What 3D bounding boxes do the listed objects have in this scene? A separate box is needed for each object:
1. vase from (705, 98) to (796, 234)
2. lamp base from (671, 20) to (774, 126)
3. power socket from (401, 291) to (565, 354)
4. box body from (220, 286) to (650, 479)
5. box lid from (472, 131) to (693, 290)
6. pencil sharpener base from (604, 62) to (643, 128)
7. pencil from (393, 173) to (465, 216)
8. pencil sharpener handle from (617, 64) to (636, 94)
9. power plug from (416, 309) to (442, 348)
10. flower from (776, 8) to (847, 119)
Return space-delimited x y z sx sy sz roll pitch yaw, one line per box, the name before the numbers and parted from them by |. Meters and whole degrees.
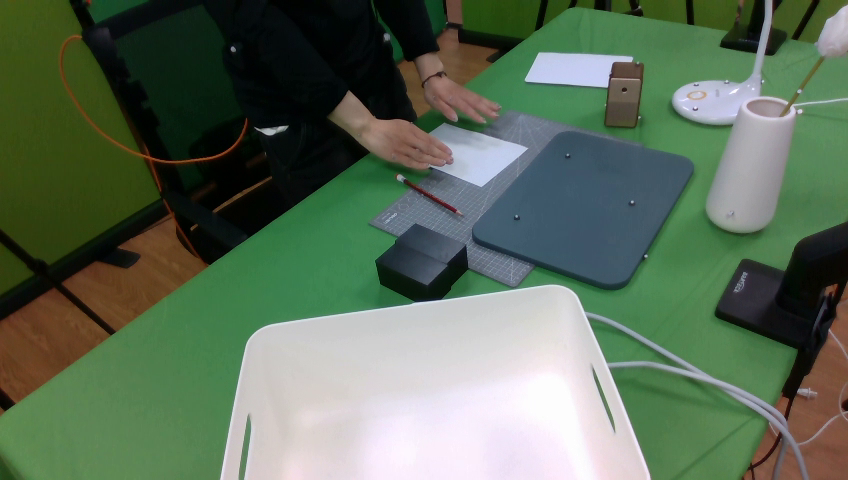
vase | 0.480 -0.104 0.889 0.098 0.201 0.097 -4 42 4
lamp base | 0.581 -0.332 1.154 0.179 0.181 0.160 2 41 7
power socket | 0.079 0.111 0.823 0.227 0.033 0.072 -5 41 1
box body | 0.006 0.210 0.618 0.364 0.161 0.252 -8 40 -1
box lid | 0.273 -0.068 1.020 0.261 0.015 0.372 20 47 28
pencil sharpener base | 0.390 -0.284 1.182 0.061 0.107 0.076 7 42 17
pencil | 0.006 -0.082 1.071 0.012 0.012 0.192 -32 45 -26
pencil sharpener handle | 0.401 -0.327 1.211 0.036 0.068 0.030 16 44 8
power plug | 0.004 0.121 0.787 0.035 0.053 0.072 2 46 8
flower | 0.476 -0.156 0.823 0.038 0.362 0.044 8 58 2
